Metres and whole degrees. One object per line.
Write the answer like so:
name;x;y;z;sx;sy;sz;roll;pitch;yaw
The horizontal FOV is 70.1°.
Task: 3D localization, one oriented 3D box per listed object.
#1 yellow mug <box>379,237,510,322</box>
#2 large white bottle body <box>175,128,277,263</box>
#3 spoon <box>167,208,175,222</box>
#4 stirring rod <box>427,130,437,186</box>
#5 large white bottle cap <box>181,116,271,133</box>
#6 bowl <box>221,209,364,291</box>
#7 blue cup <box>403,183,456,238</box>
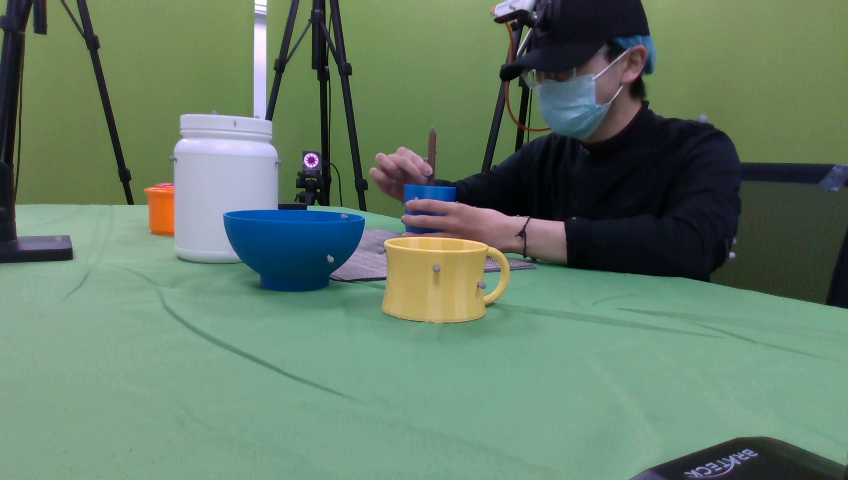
yellow mug;0.024;0.034;0.575;0.131;0.064;0.099;1;7;-22
large white bottle body;-0.265;-0.068;0.814;0.131;0.184;0.130;2;7;0
spoon;-0.447;-0.104;1.192;0.041;0.022;0.193;7;52;14
stirring rod;0.011;-0.092;0.984;0.014;0.176;0.006;4;2;37
large white bottle cap;-0.262;-0.152;0.803;0.115;0.018;0.115;2;7;0
bowl;-0.142;0.011;0.660;0.151;0.077;0.151;2;7;0
blue cup;0.006;-0.038;0.966;0.093;0.100;0.092;4;6;0
